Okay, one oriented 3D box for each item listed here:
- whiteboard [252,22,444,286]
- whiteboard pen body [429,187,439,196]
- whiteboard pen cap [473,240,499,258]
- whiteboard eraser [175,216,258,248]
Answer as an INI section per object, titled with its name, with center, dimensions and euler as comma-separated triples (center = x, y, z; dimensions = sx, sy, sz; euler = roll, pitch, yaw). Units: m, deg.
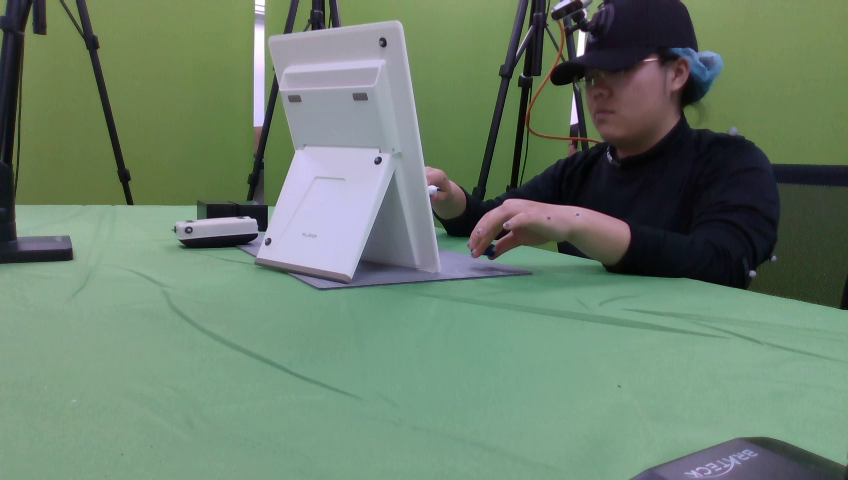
[whiteboard]
center = -0.125, -0.081, 0.714
dimensions = 0.216, 0.305, 0.144
euler = 9, 29, 36
[whiteboard pen body]
center = -0.007, -0.080, 1.003
dimensions = 0.017, 0.017, 0.140
euler = -1, 3, -26
[whiteboard pen cap]
center = 0.084, 0.014, 0.810
dimensions = 0.033, 0.018, 0.018
euler = 20, 7, -1
[whiteboard eraser]
center = -0.314, -0.012, 0.914
dimensions = 0.113, 0.042, 0.055
euler = -5, 12, -30
